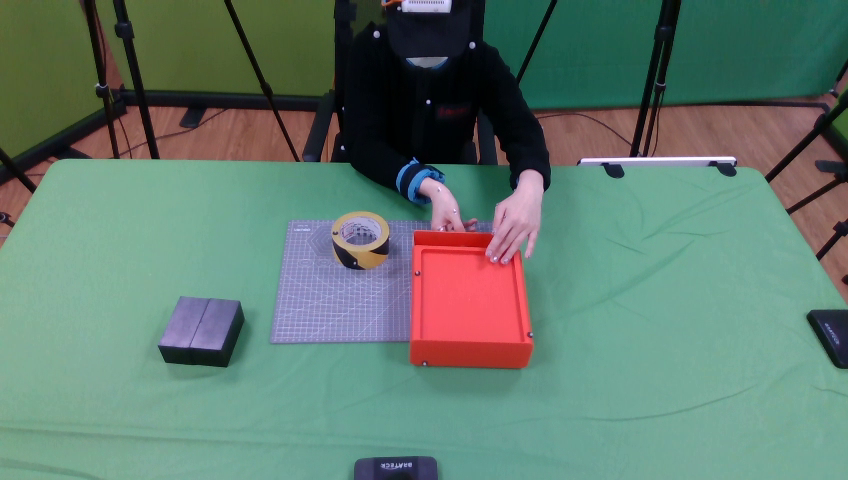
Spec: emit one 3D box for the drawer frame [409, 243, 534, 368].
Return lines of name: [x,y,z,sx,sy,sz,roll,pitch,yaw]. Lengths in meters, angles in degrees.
drawer frame: [0.077,0.109,1.052,0.202,0.083,0.212,2,47,-3]

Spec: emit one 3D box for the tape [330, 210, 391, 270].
tape: [-0.123,-0.002,1.164,0.117,0.053,0.116,3,46,-3]

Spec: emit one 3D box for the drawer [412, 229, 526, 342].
drawer: [0.075,0.079,1.080,0.194,0.073,0.210,2,47,-3]
